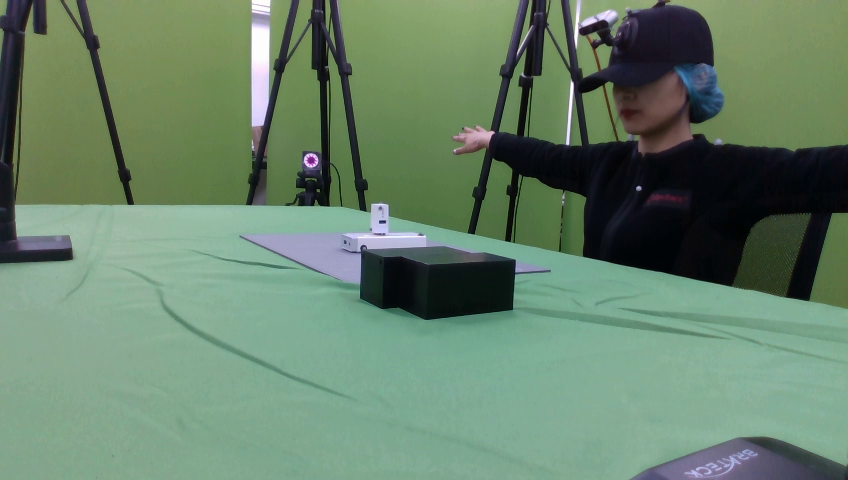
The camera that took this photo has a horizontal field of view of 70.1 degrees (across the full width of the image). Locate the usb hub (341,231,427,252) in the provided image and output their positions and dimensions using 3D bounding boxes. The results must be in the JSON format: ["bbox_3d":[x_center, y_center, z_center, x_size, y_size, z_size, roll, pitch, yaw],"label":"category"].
[{"bbox_3d":[-0.061,0.002,0.930,0.126,0.025,0.049,-2,9,-28],"label":"usb hub"}]

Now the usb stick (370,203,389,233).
[{"bbox_3d":[-0.068,-0.027,0.926,0.021,0.059,0.027,-2,11,-30],"label":"usb stick"}]
